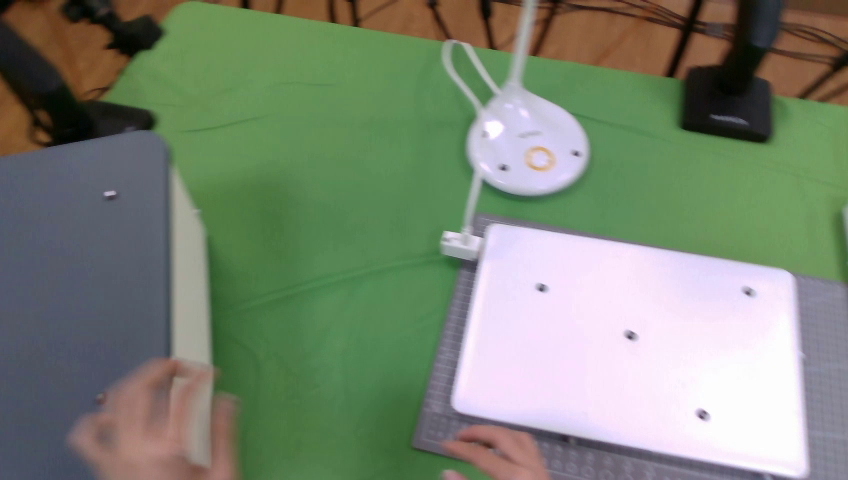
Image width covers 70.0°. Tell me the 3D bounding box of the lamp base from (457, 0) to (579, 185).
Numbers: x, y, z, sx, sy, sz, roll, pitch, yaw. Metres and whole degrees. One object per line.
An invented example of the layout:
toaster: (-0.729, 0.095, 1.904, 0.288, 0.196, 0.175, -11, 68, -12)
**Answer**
lamp base: (0.116, -0.188, 0.745, 0.161, 0.182, 0.177, -23, 58, -13)

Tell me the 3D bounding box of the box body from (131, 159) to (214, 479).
box body: (-0.358, 0.097, 0.593, 0.254, 0.162, 0.360, -13, 60, -7)

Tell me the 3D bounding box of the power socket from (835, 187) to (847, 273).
power socket: (0.529, 0.028, 0.696, 0.072, 0.033, 0.225, 10, 60, 5)

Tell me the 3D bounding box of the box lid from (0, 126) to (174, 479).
box lid: (-0.360, 0.056, 0.530, 0.263, 0.015, 0.367, -12, 61, -7)

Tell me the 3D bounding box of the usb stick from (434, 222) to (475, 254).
usb stick: (0.042, -0.001, 0.714, 0.059, 0.027, 0.021, 14, 55, 6)

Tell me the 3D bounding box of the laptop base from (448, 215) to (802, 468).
laptop base: (0.218, 0.099, 0.666, 0.354, 0.023, 0.234, 9, 63, 6)

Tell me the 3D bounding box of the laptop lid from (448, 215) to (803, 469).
laptop lid: (0.216, 0.095, 0.655, 0.356, 0.013, 0.240, 10, 62, 7)
